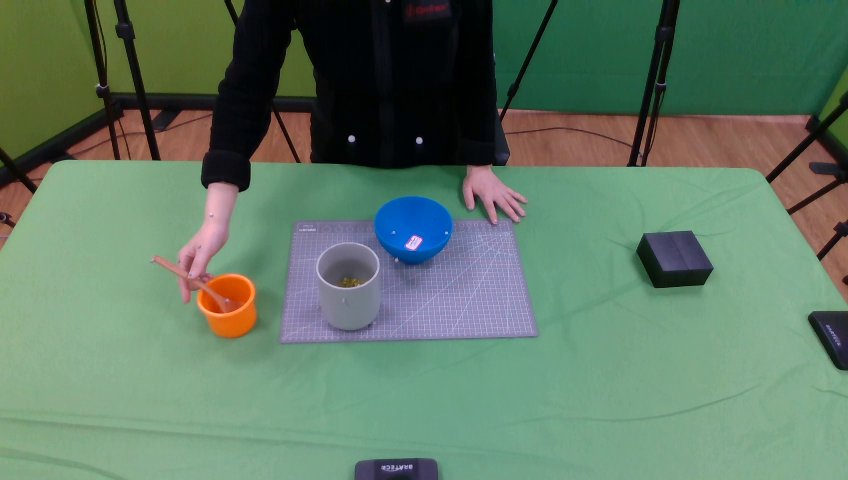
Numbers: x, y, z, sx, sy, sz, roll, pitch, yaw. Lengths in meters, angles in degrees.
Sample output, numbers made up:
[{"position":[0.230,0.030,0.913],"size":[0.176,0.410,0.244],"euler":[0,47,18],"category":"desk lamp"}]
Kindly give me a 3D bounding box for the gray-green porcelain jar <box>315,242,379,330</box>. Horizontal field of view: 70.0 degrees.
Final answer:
[{"position":[-0.129,0.084,1.031],"size":[0.106,0.127,0.105],"euler":[2,46,-2],"category":"gray-green porcelain jar"}]

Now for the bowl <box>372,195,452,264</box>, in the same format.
[{"position":[-0.023,-0.008,1.161],"size":[0.151,0.077,0.150],"euler":[2,46,-2],"category":"bowl"}]

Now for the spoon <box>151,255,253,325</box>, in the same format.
[{"position":[-0.364,0.081,1.004],"size":[0.021,0.195,0.041],"euler":[-27,32,34],"category":"spoon"}]
